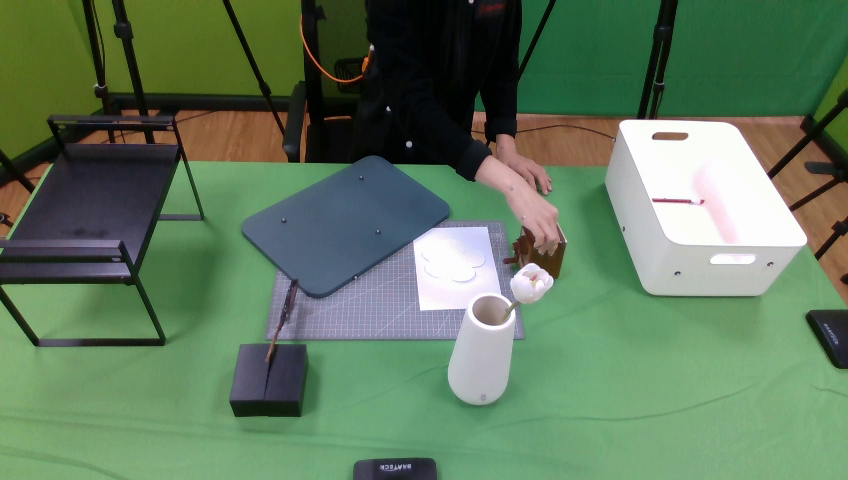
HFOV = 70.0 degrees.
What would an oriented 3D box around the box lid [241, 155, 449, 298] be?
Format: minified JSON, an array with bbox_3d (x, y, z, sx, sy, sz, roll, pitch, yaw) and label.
[{"bbox_3d":[-0.157,-0.043,1.234,0.371,0.015,0.262,-34,56,-31],"label":"box lid"}]

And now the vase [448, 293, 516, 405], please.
[{"bbox_3d":[0.091,0.169,0.921,0.098,0.201,0.097,3,47,-3],"label":"vase"}]

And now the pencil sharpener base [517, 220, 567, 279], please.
[{"bbox_3d":[0.215,0.023,1.131,0.077,0.107,0.061,-9,47,-7],"label":"pencil sharpener base"}]

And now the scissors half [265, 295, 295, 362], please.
[{"bbox_3d":[-0.239,0.143,1.005,0.013,0.040,0.174,17,28,-7],"label":"scissors half"}]

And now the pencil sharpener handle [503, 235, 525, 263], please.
[{"bbox_3d":[0.164,0.021,1.116,0.031,0.068,0.035,-9,53,-7],"label":"pencil sharpener handle"}]

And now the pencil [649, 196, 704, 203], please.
[{"bbox_3d":[0.513,-0.091,1.322,0.194,0.012,0.012,3,46,1],"label":"pencil"}]

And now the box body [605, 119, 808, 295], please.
[{"bbox_3d":[0.528,-0.068,1.205,0.254,0.161,0.361,1,46,-4],"label":"box body"}]

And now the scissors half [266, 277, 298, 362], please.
[{"bbox_3d":[-0.234,0.127,0.993,0.013,0.040,0.174,12,46,-4],"label":"scissors half"}]

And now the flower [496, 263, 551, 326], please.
[{"bbox_3d":[0.102,0.120,0.853,0.044,0.363,0.038,-1,64,-10],"label":"flower"}]
